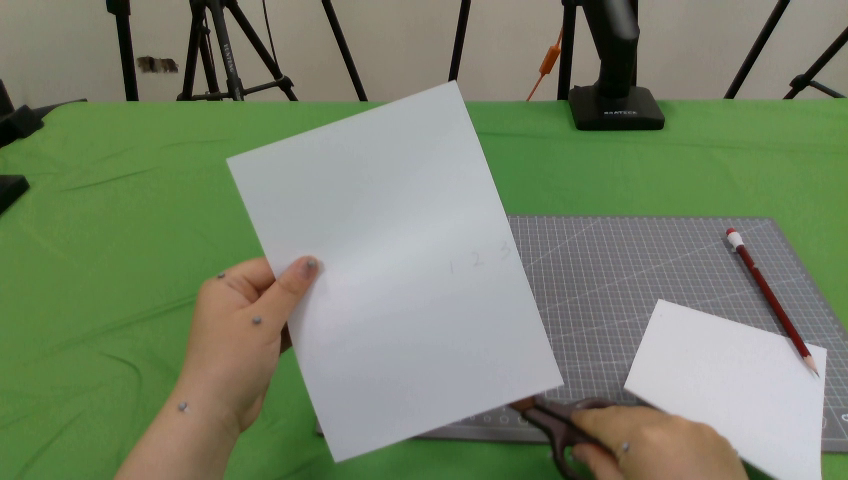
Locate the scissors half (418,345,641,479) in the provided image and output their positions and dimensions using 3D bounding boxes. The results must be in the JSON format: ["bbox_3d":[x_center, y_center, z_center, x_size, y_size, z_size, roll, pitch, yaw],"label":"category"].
[{"bbox_3d":[0.067,0.118,0.424,0.174,0.013,0.040,30,45,21],"label":"scissors half"}]

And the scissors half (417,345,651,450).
[{"bbox_3d":[0.077,0.108,0.439,0.175,0.013,0.040,18,36,7],"label":"scissors half"}]

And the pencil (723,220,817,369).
[{"bbox_3d":[0.321,0.043,0.569,0.012,0.012,0.192,-1,40,1],"label":"pencil"}]
